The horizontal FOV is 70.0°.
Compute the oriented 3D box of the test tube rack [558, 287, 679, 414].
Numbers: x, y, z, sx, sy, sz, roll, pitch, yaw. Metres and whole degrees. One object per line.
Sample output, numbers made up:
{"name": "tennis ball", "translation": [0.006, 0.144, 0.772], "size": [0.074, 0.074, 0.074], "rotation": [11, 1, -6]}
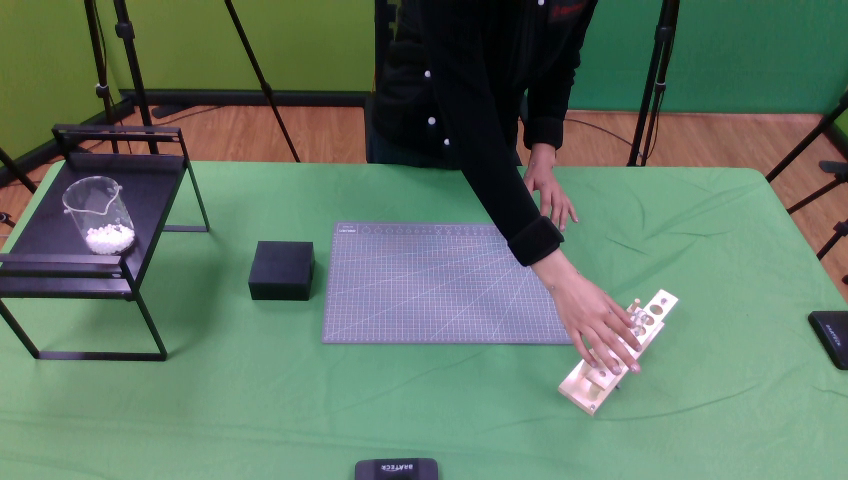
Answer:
{"name": "test tube rack", "translation": [0.326, 0.170, 1.008], "size": [0.066, 0.085, 0.242], "rotation": [35, 54, 26]}

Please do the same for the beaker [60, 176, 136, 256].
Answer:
{"name": "beaker", "translation": [-0.470, -0.031, 0.887], "size": [0.074, 0.101, 0.083], "rotation": [-31, 56, -29]}

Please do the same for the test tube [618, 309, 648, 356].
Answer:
{"name": "test tube", "translation": [0.327, 0.155, 0.955], "size": [0.017, 0.151, 0.017], "rotation": [-1, 51, 1]}
